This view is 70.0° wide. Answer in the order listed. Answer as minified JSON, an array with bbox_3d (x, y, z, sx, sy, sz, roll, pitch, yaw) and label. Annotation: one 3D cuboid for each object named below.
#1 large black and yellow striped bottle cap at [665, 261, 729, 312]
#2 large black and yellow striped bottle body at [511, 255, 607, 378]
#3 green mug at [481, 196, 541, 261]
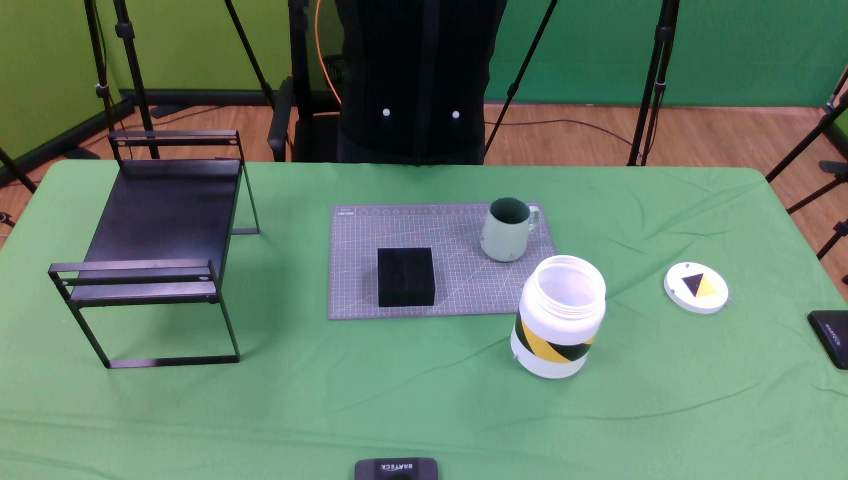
[{"bbox_3d":[0.518,0.087,1.153,0.115,0.019,0.114,2,47,-2],"label":"large black and yellow striped bottle cap"},{"bbox_3d":[0.218,0.124,0.981,0.131,0.185,0.130,2,47,-2],"label":"large black and yellow striped bottle body"},{"bbox_3d":[0.174,-0.027,1.173,0.125,0.105,0.092,-22,51,-23],"label":"green mug"}]
